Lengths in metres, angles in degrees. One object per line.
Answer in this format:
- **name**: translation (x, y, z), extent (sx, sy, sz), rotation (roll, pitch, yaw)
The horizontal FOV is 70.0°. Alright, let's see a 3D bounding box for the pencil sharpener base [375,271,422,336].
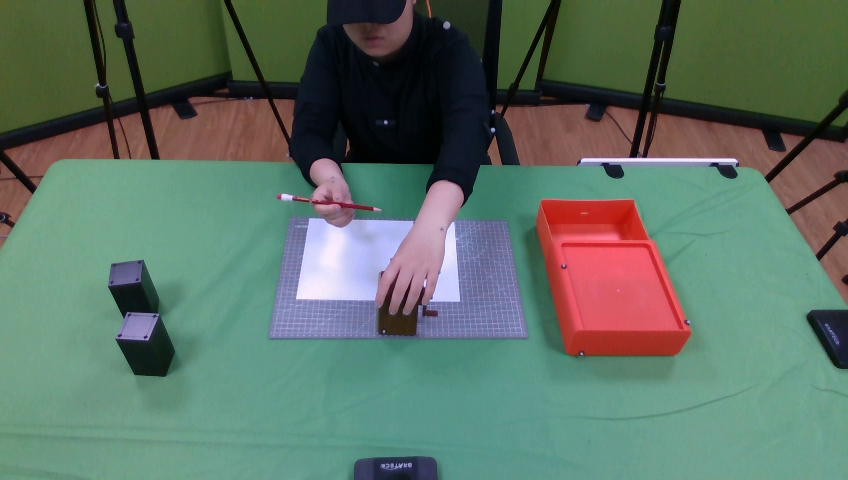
- **pencil sharpener base**: translation (-0.043, 0.109, 1.024), extent (0.077, 0.107, 0.061), rotation (3, 45, -2)

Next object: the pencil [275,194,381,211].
- **pencil**: translation (-0.170, -0.065, 1.074), extent (0.194, 0.012, 0.012), rotation (8, 45, 6)

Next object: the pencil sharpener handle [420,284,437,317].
- **pencil sharpener handle**: translation (0.009, 0.104, 1.017), extent (0.030, 0.068, 0.036), rotation (3, 38, -2)

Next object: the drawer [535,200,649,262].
- **drawer**: translation (0.332, 0.015, 1.169), extent (0.195, 0.073, 0.210), rotation (0, 46, -5)

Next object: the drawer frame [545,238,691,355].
- **drawer frame**: translation (0.338, 0.097, 1.085), extent (0.202, 0.083, 0.212), rotation (0, 46, -4)
